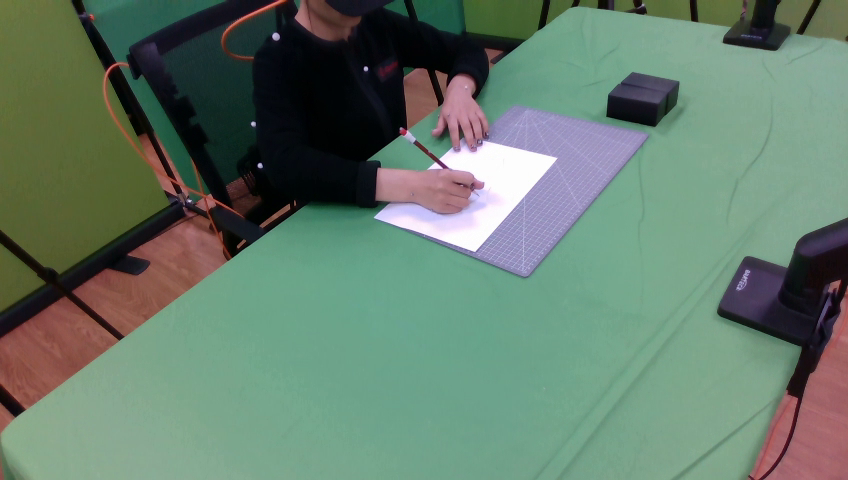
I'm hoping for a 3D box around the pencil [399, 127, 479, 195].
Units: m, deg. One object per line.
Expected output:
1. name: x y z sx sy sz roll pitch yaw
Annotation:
1. pencil: 0.029 -0.128 1.015 0.012 0.196 0.012 -33 37 30
